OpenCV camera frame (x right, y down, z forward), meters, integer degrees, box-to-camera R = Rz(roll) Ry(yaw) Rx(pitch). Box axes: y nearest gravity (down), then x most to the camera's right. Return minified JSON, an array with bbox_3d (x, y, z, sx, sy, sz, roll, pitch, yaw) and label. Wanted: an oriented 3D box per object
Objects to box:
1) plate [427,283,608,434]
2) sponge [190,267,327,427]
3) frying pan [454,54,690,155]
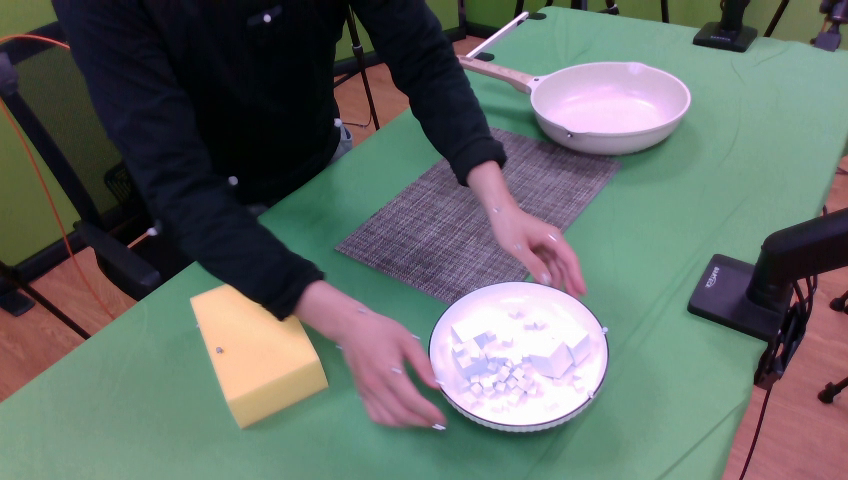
[{"bbox_3d":[0.108,0.137,0.708,0.207,0.039,0.206,-4,42,4],"label":"plate"},{"bbox_3d":[-0.226,0.135,0.814,0.119,0.061,0.205,-24,43,-19],"label":"sponge"},{"bbox_3d":[0.270,-0.298,1.211,0.485,0.103,0.307,27,49,24],"label":"frying pan"}]
